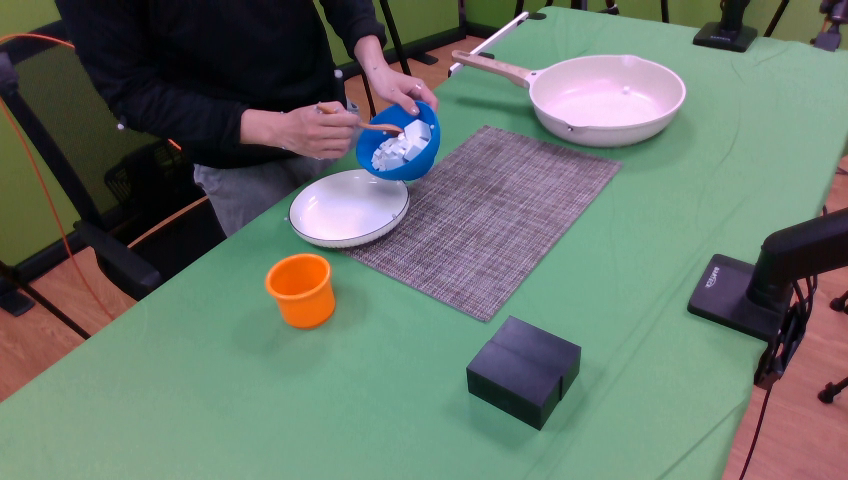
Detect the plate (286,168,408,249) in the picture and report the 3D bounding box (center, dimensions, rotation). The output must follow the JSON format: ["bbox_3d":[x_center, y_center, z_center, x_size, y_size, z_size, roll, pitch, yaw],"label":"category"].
[{"bbox_3d":[-0.127,-0.050,1.028,0.207,0.039,0.206,-5,39,5],"label":"plate"}]

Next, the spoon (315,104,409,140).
[{"bbox_3d":[-0.095,-0.186,0.966,0.041,0.021,0.195,13,6,40],"label":"spoon"}]

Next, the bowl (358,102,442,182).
[{"bbox_3d":[-0.027,-0.150,1.013,0.151,0.077,0.150,-20,45,22],"label":"bowl"}]

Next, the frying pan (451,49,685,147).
[{"bbox_3d":[0.269,-0.316,1.233,0.485,0.103,0.307,26,49,21],"label":"frying pan"}]
